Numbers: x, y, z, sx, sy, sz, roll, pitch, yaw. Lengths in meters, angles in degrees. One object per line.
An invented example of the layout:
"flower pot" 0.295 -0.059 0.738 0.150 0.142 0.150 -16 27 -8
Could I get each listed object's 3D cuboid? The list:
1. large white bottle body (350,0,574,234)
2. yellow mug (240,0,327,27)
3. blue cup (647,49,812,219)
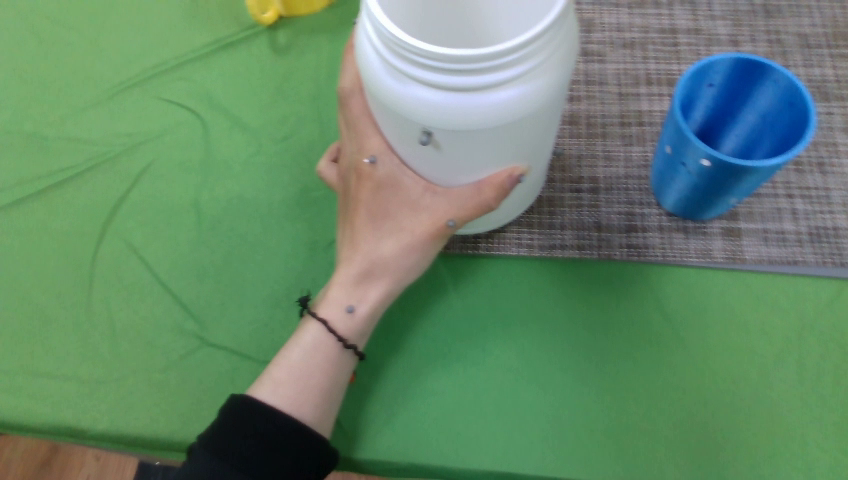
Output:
"large white bottle body" 0.023 -0.099 0.394 0.130 0.186 0.129 -1 65 2
"yellow mug" -0.132 -0.248 0.537 0.100 0.064 0.130 14 68 9
"blue cup" 0.196 -0.063 0.415 0.092 0.101 0.092 -2 65 4
